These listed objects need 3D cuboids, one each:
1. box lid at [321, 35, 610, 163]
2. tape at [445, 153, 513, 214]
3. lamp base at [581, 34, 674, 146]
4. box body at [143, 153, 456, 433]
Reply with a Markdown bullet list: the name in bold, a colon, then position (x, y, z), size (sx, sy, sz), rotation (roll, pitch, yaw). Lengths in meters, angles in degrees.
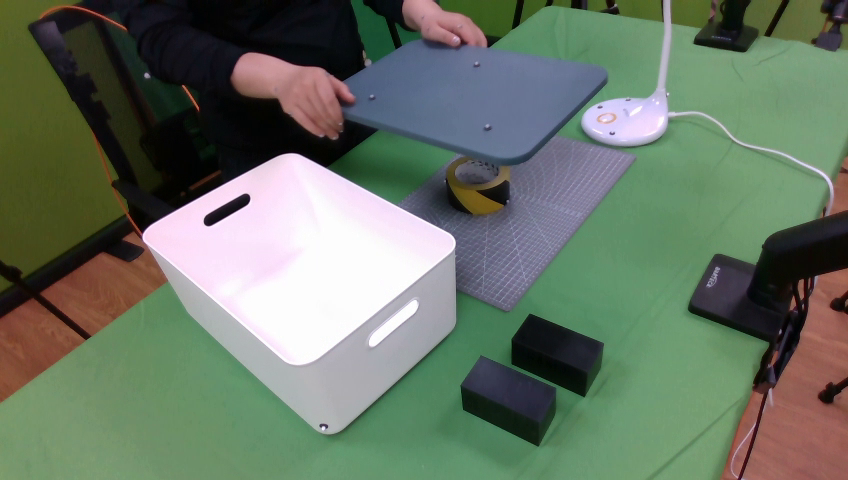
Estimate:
- **box lid**: position (0.055, -0.220, 0.884), size (0.368, 0.015, 0.264), rotation (22, 50, 32)
- **tape**: position (0.095, -0.099, 1.043), size (0.117, 0.053, 0.116), rotation (-4, 41, 4)
- **lamp base**: position (0.392, -0.291, 1.129), size (0.180, 0.181, 0.159), rotation (-11, 41, -8)
- **box body**: position (-0.158, 0.054, 0.819), size (0.361, 0.161, 0.255), rotation (29, 52, 34)
